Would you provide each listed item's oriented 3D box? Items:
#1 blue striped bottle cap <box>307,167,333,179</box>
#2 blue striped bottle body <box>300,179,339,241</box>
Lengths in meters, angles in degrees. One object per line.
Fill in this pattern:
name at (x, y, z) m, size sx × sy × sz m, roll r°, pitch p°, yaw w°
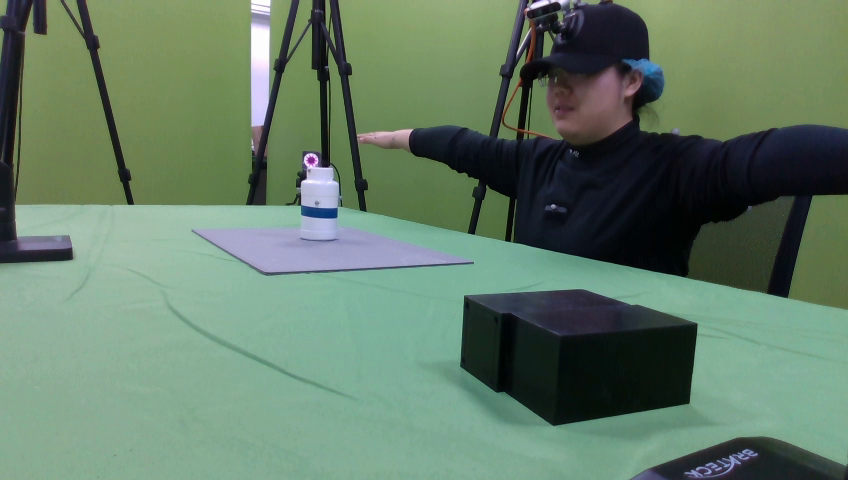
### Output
blue striped bottle cap at (-0.174, -0.112, 1.011) m, size 0.044 × 0.020 × 0.044 m, roll 2°, pitch 6°, yaw 0°
blue striped bottle body at (-0.176, -0.062, 1.018) m, size 0.063 × 0.120 × 0.063 m, roll 3°, pitch 7°, yaw 0°
